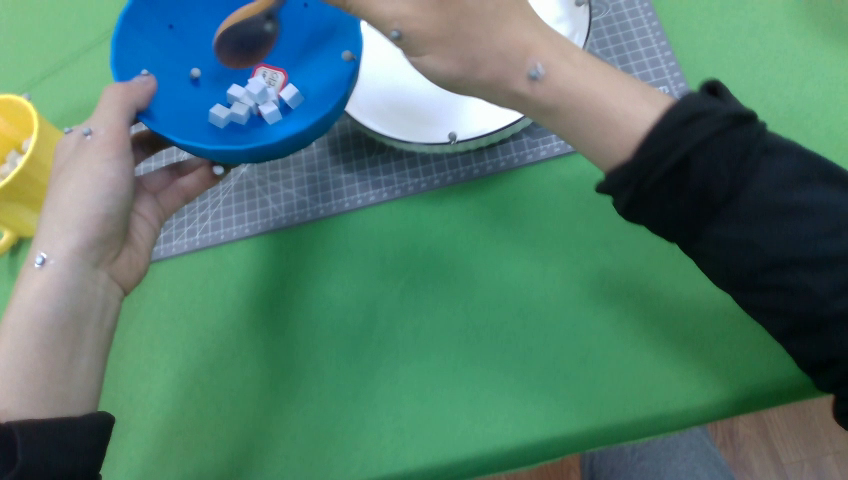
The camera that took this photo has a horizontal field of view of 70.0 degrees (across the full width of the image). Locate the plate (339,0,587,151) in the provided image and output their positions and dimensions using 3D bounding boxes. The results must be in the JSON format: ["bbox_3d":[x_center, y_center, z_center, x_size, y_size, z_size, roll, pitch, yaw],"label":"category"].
[{"bbox_3d":[0.020,-0.155,0.470,0.209,0.038,0.207,-4,67,11],"label":"plate"}]

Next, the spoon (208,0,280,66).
[{"bbox_3d":[-0.074,-0.130,0.304,0.042,0.193,0.021,-22,96,-30],"label":"spoon"}]

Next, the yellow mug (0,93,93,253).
[{"bbox_3d":[-0.344,-0.047,0.494,0.099,0.064,0.130,8,70,16],"label":"yellow mug"}]

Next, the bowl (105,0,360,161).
[{"bbox_3d":[-0.114,-0.109,0.397,0.151,0.077,0.150,1,71,-1],"label":"bowl"}]
